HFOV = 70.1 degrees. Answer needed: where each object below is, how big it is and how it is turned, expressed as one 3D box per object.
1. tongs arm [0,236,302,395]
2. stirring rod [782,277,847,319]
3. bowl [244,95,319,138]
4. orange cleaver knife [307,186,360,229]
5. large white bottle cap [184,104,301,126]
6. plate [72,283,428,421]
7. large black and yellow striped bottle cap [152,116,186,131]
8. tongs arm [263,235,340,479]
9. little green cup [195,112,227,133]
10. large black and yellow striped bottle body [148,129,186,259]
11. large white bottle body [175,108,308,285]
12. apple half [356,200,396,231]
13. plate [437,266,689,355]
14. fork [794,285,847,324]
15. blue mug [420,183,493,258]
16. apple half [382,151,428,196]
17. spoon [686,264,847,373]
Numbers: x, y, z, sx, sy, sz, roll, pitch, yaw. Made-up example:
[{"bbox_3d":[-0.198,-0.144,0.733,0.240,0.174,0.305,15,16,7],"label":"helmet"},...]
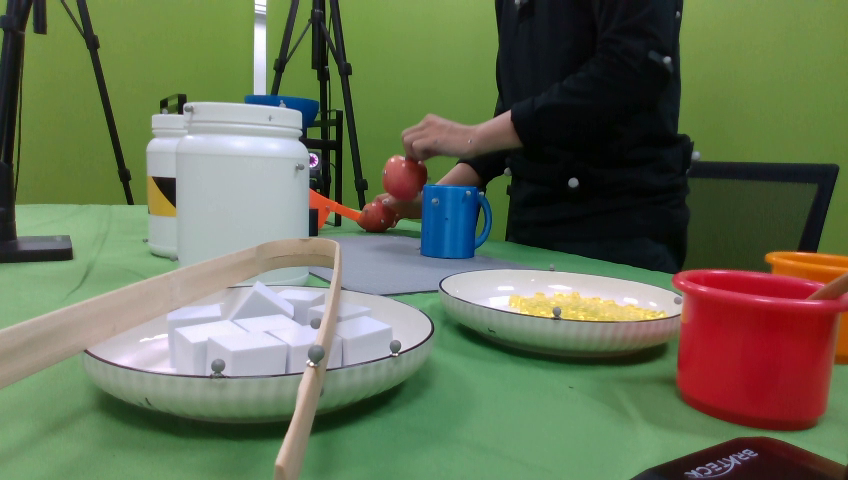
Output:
[{"bbox_3d":[-0.158,0.038,0.351,0.028,0.028,0.388,-3,8,12],"label":"tongs arm"},{"bbox_3d":[0.344,0.019,0.461,0.014,0.006,0.176,-13,-27,-30],"label":"stirring rod"},{"bbox_3d":[-0.293,-0.251,1.249,0.151,0.077,0.151,2,8,0],"label":"bowl"},{"bbox_3d":[-0.202,-0.062,1.143,0.212,0.077,0.012,26,-9,-36],"label":"orange cleaver knife"},{"bbox_3d":[-0.184,-0.126,0.618,0.115,0.018,0.115,2,8,0],"label":"large white bottle cap"},{"bbox_3d":[-0.102,0.066,0.381,0.208,0.039,0.207,2,7,0],"label":"plate"},{"bbox_3d":[-0.309,-0.155,0.826,0.115,0.019,0.115,3,6,0],"label":"large black and yellow striped bottle cap"},{"bbox_3d":[-0.074,0.039,0.349,0.051,0.026,0.384,-2,9,-3],"label":"tongs arm"},{"bbox_3d":[-0.412,-0.227,1.171,0.061,0.038,0.061,3,8,0],"label":"little green cup"},{"bbox_3d":[-0.310,-0.073,0.838,0.131,0.184,0.130,2,8,0],"label":"large black and yellow striped bottle body"},{"bbox_3d":[-0.188,-0.042,0.630,0.131,0.184,0.130,2,8,0],"label":"large white bottle body"},{"bbox_3d":[-0.091,-0.039,1.180,0.081,0.081,0.032,0,49,-15],"label":"apple half"},{"bbox_3d":[0.114,0.057,0.517,0.209,0.038,0.209,3,8,0],"label":"plate"},{"bbox_3d":[0.332,0.018,0.442,0.028,0.018,0.207,-1,-36,-15],"label":"fork"},{"bbox_3d":[0.052,-0.032,0.912,0.117,0.106,0.082,-1,8,-24],"label":"blue mug"},{"bbox_3d":[-0.027,-0.109,1.029,0.081,0.074,0.053,4,25,-46],"label":"apple half"},{"bbox_3d":[0.214,0.032,0.328,0.042,0.021,0.193,-2,-35,-26],"label":"spoon"}]
